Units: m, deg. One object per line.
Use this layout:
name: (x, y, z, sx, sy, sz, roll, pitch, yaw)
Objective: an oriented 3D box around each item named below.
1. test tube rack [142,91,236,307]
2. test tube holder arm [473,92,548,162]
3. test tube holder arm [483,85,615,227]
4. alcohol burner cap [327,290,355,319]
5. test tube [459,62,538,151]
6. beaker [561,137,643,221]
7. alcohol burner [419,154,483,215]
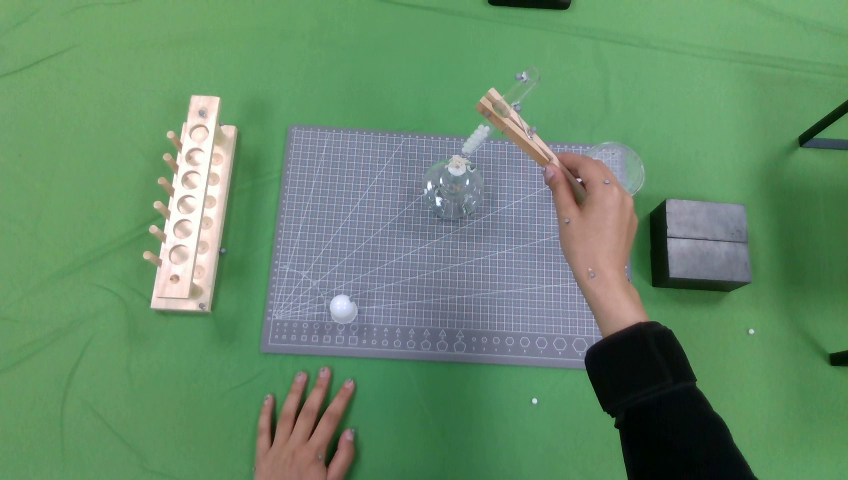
test tube rack: (-0.282, -0.049, 0.717, 0.067, 0.085, 0.241, 4, 74, -2)
test tube holder arm: (0.084, -0.107, 0.577, 0.088, 0.015, 0.010, 39, 67, -6)
test tube holder arm: (0.120, -0.080, 0.582, 0.178, 0.015, 0.013, 45, 67, -3)
alcohol burner cap: (-0.100, 0.074, 0.713, 0.034, 0.048, 0.033, 1, 74, -4)
test tube: (0.067, -0.123, 0.583, 0.017, 0.150, 0.017, 6, 70, -18)
beaker: (0.211, -0.070, 0.744, 0.084, 0.101, 0.073, 2, 73, -1)
alcohol burner: (0.033, -0.074, 0.727, 0.078, 0.119, 0.077, 0, 74, -1)
